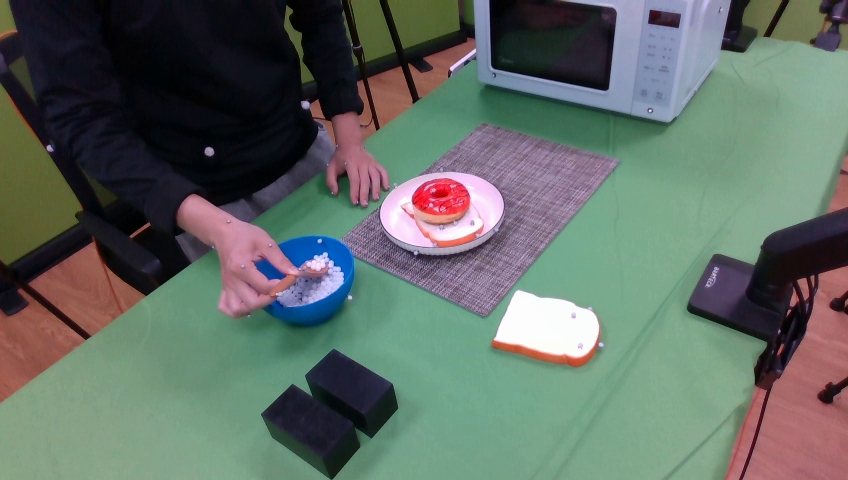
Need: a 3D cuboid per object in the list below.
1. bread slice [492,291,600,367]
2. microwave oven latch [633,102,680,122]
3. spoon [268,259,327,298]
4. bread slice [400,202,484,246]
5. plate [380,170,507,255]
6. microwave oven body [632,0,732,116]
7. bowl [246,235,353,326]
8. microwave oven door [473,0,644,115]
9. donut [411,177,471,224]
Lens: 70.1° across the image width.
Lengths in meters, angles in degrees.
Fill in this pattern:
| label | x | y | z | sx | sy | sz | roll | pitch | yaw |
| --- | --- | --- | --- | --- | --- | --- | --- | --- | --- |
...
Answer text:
| label | x | y | z | sx | sy | sz | roll | pitch | yaw |
| --- | --- | --- | --- | --- | --- | --- | --- | --- | --- |
| bread slice | 0.169 | 0.118 | 0.811 | 0.131 | 0.019 | 0.105 | 11 | 45 | 22 |
| microwave oven latch | 0.444 | -0.249 | 1.157 | 0.078 | 0.029 | 0.030 | 21 | 49 | 30 |
| spoon | -0.171 | 0.049 | 0.806 | 0.041 | 0.021 | 0.194 | 8 | 7 | 6 |
| bread slice | 0.037 | -0.037 | 0.991 | 0.107 | 0.018 | 0.133 | -23 | 42 | -17 |
| plate | 0.033 | -0.042 | 0.995 | 0.207 | 0.039 | 0.206 | -4 | 40 | 4 |
| microwave oven body | 0.377 | -0.462 | 1.267 | 0.438 | 0.261 | 0.327 | 21 | 48 | 30 |
| bowl | -0.170 | 0.070 | 0.868 | 0.151 | 0.077 | 0.150 | -4 | 41 | 4 |
| microwave oven door | 0.257 | -0.396 | 1.199 | 0.353 | 0.245 | 0.039 | 21 | 48 | 29 |
| donut | 0.028 | -0.064 | 0.978 | 0.099 | 0.048 | 0.098 | -4 | 39 | 4 |
